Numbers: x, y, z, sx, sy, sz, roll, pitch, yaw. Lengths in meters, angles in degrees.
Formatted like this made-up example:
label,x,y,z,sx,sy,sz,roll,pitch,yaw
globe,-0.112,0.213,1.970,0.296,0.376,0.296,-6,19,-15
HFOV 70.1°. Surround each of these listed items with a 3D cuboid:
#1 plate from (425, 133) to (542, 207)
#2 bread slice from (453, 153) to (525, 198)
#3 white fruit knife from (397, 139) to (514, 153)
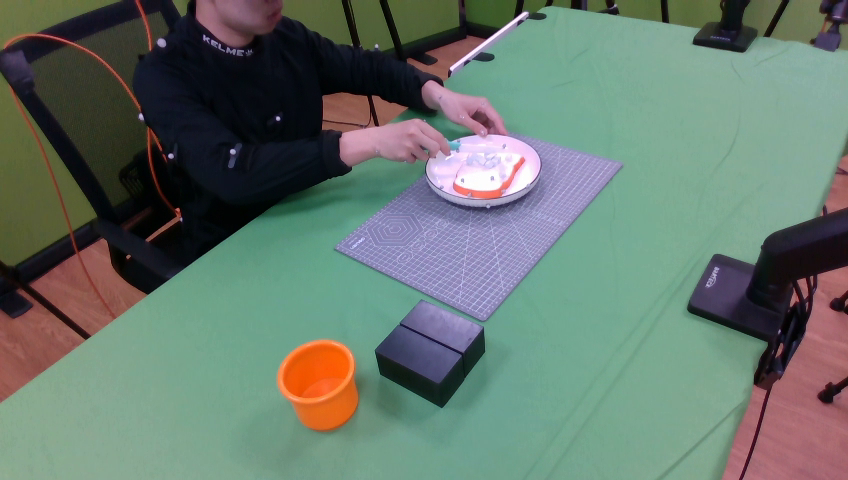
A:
label,x,y,z,sx,sy,sz,roll,pitch,yaw
plate,0.105,-0.121,1.079,0.209,0.038,0.208,-4,41,4
bread slice,0.112,-0.118,1.079,0.104,0.019,0.131,11,42,22
white fruit knife,0.056,-0.165,1.071,0.208,0.027,0.016,2,57,-2
